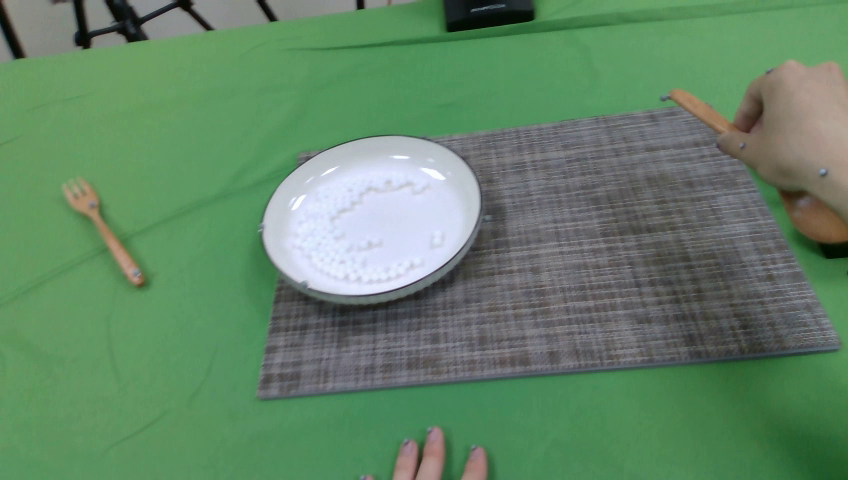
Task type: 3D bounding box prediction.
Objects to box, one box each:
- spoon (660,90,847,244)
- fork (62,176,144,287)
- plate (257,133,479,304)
[{"bbox_3d":[0.248,-0.065,0.465,0.041,0.022,0.191,-35,56,5],"label":"spoon"},{"bbox_3d":[-0.335,-0.012,0.631,0.028,0.019,0.205,-32,49,-25],"label":"fork"},{"bbox_3d":[-0.051,-0.021,0.573,0.207,0.039,0.205,-5,49,6],"label":"plate"}]
